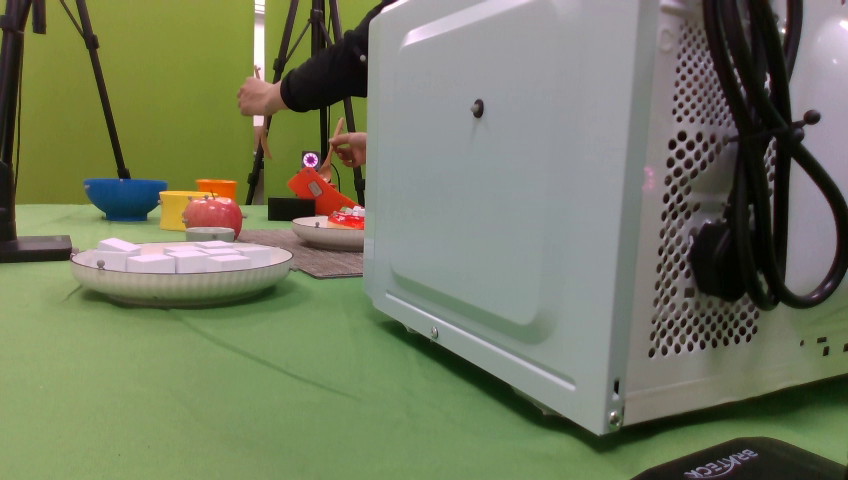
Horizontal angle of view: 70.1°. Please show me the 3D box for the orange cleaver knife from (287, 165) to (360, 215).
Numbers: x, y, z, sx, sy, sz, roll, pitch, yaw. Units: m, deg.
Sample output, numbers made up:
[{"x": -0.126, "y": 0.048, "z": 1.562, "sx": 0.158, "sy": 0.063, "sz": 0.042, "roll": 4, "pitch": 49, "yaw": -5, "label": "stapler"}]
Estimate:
[{"x": -0.211, "y": -0.092, "z": 1.382, "sx": 0.212, "sy": 0.077, "sz": 0.012, "roll": 34, "pitch": 2, "yaw": -15, "label": "orange cleaver knife"}]

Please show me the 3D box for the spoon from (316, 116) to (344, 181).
[{"x": -0.234, "y": -0.228, "z": 1.523, "sx": 0.041, "sy": 0.193, "sz": 0.022, "roll": 13, "pitch": -13, "yaw": 15, "label": "spoon"}]

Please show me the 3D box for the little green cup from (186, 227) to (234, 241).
[{"x": -0.285, "y": 0.005, "z": 0.805, "sx": 0.061, "sy": 0.038, "sz": 0.061, "roll": 2, "pitch": 8, "yaw": 0, "label": "little green cup"}]

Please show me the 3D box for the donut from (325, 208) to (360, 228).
[{"x": -0.110, "y": -0.025, "z": 0.974, "sx": 0.099, "sy": 0.048, "sz": 0.099, "roll": 5, "pitch": 8, "yaw": 0, "label": "donut"}]

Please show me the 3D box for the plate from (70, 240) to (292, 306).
[{"x": -0.242, "y": 0.032, "z": 0.618, "sx": 0.208, "sy": 0.039, "sz": 0.207, "roll": 3, "pitch": 8, "yaw": 0, "label": "plate"}]

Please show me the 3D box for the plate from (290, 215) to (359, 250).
[{"x": -0.110, "y": -0.014, "z": 0.974, "sx": 0.209, "sy": 0.038, "sz": 0.209, "roll": 3, "pitch": 8, "yaw": 0, "label": "plate"}]

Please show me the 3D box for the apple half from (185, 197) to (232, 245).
[{"x": -0.337, "y": -0.031, "z": 0.928, "sx": 0.032, "sy": 0.081, "sz": 0.082, "roll": 13, "pitch": 13, "yaw": 37, "label": "apple half"}]

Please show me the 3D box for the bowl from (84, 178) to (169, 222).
[{"x": -0.585, "y": -0.078, "z": 1.194, "sx": 0.151, "sy": 0.077, "sz": 0.151, "roll": 3, "pitch": 8, "yaw": 0, "label": "bowl"}]

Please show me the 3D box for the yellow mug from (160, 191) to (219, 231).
[{"x": -0.416, "y": -0.053, "z": 1.103, "sx": 0.130, "sy": 0.064, "sz": 0.100, "roll": 7, "pitch": 8, "yaw": 27, "label": "yellow mug"}]

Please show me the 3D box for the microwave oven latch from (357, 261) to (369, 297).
[{"x": -0.019, "y": 0.033, "z": 0.530, "sx": 0.079, "sy": 0.029, "sz": 0.030, "roll": -1, "pitch": 7, "yaw": -27, "label": "microwave oven latch"}]

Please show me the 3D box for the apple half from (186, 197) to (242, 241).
[{"x": -0.307, "y": -0.026, "z": 0.905, "sx": 0.053, "sy": 0.074, "sz": 0.081, "roll": 14, "pitch": 9, "yaw": 37, "label": "apple half"}]

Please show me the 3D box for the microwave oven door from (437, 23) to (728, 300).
[{"x": 0.180, "y": -0.072, "z": 0.621, "sx": 0.358, "sy": 0.243, "sz": 0.039, "roll": -2, "pitch": 9, "yaw": -29, "label": "microwave oven door"}]

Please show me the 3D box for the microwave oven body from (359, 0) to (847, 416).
[{"x": 0.211, "y": -0.047, "z": 0.474, "sx": 0.444, "sy": 0.260, "sz": 0.324, "roll": -1, "pitch": 7, "yaw": -28, "label": "microwave oven body"}]

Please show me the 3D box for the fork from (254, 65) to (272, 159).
[{"x": -0.359, "y": -0.285, "z": 1.344, "sx": 0.018, "sy": 0.207, "sz": 0.028, "roll": -3, "pitch": 7, "yaw": 9, "label": "fork"}]
